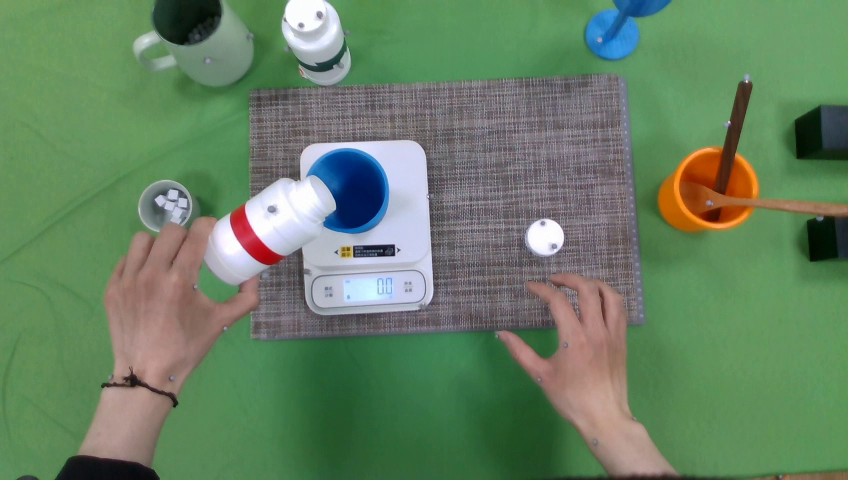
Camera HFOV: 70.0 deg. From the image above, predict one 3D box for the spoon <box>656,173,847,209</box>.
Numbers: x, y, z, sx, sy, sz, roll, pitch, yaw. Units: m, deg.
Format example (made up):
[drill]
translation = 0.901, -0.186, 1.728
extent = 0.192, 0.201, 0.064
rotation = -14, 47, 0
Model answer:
[spoon]
translation = 0.344, -0.047, 0.648
extent = 0.022, 0.192, 0.041
rotation = 10, 91, -42

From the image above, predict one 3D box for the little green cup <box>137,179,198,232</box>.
[little green cup]
translation = -0.295, -0.038, 0.705
extent = 0.061, 0.039, 0.061
rotation = 0, 84, -1

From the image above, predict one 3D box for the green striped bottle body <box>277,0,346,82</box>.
[green striped bottle body]
translation = -0.127, -0.231, 0.685
extent = 0.063, 0.119, 0.063
rotation = 0, 83, 1

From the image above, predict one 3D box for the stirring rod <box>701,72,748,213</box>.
[stirring rod]
translation = 0.322, -0.098, 0.654
extent = 0.014, 0.178, 0.006
rotation = 4, 43, 14

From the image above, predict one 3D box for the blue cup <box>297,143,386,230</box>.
[blue cup]
translation = -0.079, -0.049, 0.640
extent = 0.092, 0.100, 0.092
rotation = 0, 86, 0

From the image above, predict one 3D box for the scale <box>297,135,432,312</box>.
[scale]
translation = -0.070, -0.021, 0.702
extent = 0.149, 0.031, 0.200
rotation = -4, 84, 0

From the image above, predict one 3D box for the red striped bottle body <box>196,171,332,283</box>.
[red striped bottle body]
translation = -0.143, -0.016, 0.556
extent = 0.119, 0.063, 0.063
rotation = -33, 84, 13

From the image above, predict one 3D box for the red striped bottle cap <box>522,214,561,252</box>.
[red striped bottle cap]
translation = 0.137, -0.008, 0.707
extent = 0.044, 0.018, 0.044
rotation = 1, 81, -4

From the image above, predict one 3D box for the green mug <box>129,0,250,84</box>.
[green mug]
translation = -0.272, -0.230, 0.693
extent = 0.125, 0.105, 0.092
rotation = -25, 84, -2

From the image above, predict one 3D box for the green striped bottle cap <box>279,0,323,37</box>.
[green striped bottle cap]
translation = -0.128, -0.237, 0.633
extent = 0.044, 0.020, 0.044
rotation = 0, 83, 0

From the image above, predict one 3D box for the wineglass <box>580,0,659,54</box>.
[wineglass]
translation = 0.222, -0.270, 0.660
extent = 0.074, 0.172, 0.073
rotation = 0, 83, 1
